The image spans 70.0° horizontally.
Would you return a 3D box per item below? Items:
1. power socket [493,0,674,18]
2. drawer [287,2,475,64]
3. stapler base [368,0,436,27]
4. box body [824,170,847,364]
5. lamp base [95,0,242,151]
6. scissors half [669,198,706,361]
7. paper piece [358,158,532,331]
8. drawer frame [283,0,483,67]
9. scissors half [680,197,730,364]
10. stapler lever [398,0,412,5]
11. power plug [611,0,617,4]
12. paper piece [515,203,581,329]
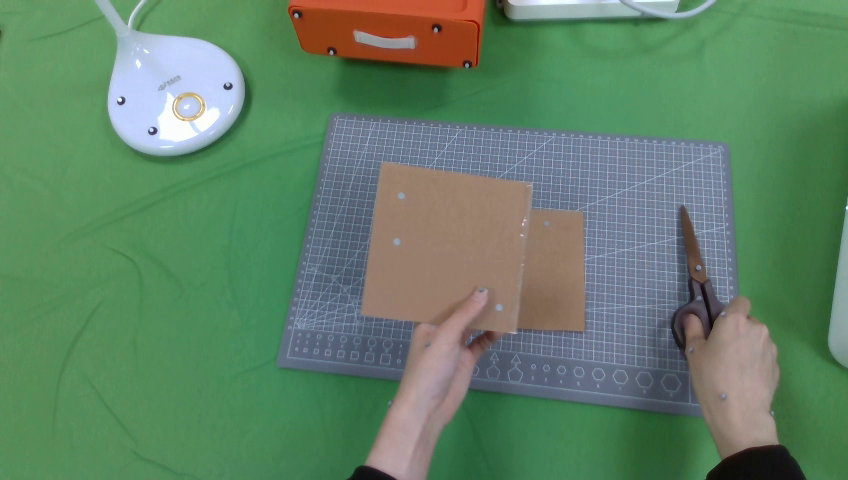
[{"bbox_3d":[0.198,-0.310,0.741,0.227,0.033,0.071,0,69,2],"label":"power socket"},{"bbox_3d":[-0.029,-0.308,0.678,0.194,0.074,0.210,7,68,6],"label":"drawer"},{"bbox_3d":[-0.047,-0.290,0.691,0.130,0.024,0.041,36,90,18],"label":"stapler base"},{"bbox_3d":[0.542,-0.029,0.545,0.253,0.161,0.362,18,71,10],"label":"box body"},{"bbox_3d":[-0.308,-0.211,0.646,0.178,0.181,0.160,38,74,19],"label":"lamp base"},{"bbox_3d":[0.259,0.033,0.600,0.040,0.013,0.174,23,62,-23],"label":"scissors half"},{"bbox_3d":[0.020,0.003,0.522,0.136,0.008,0.138,8,84,-3],"label":"paper piece"},{"bbox_3d":[-0.031,-0.310,0.678,0.201,0.083,0.212,6,68,6],"label":"drawer frame"},{"bbox_3d":[0.277,0.037,0.609,0.040,0.013,0.174,3,70,-25],"label":"scissors half"},{"bbox_3d":[-0.055,-0.295,0.666,0.117,0.040,0.027,36,90,19],"label":"stapler lever"},{"bbox_3d":[0.206,-0.292,0.709,0.035,0.053,0.072,10,69,6],"label":"power plug"},{"bbox_3d":[0.094,0.022,0.627,0.135,0.004,0.135,4,69,5],"label":"paper piece"}]
